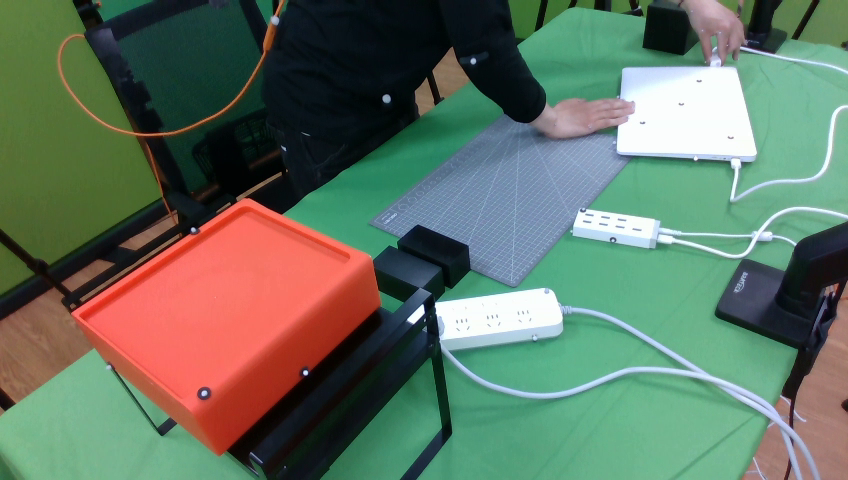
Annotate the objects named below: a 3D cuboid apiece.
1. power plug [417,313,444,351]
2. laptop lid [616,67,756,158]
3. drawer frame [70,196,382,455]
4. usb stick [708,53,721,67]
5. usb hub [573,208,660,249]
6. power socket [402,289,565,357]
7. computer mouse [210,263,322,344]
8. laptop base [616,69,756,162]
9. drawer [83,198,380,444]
[{"bbox_3d":[0.007,0.127,0.786,0.035,0.053,0.072,0,43,8],"label":"power plug"},{"bbox_3d":[0.506,-0.263,1.195,0.240,0.013,0.356,5,41,18],"label":"laptop lid"},{"bbox_3d":[-0.186,0.068,0.597,0.200,0.083,0.214,23,49,30],"label":"drawer frame"},{"bbox_3d":[0.630,-0.382,1.312,0.021,0.027,0.059,3,47,18],"label":"usb stick"},{"bbox_3d":[0.302,-0.019,0.950,0.124,0.025,0.049,11,43,20],"label":"usb hub"},{"bbox_3d":[0.081,0.112,0.822,0.227,0.033,0.072,-7,41,-1],"label":"power socket"},{"bbox_3d":[-0.164,0.062,0.624,0.116,0.041,0.063,22,44,27],"label":"computer mouse"},{"bbox_3d":[0.510,-0.254,1.202,0.234,0.023,0.353,3,41,17],"label":"laptop base"},{"bbox_3d":[-0.185,0.066,0.600,0.193,0.073,0.212,24,50,31],"label":"drawer"}]
